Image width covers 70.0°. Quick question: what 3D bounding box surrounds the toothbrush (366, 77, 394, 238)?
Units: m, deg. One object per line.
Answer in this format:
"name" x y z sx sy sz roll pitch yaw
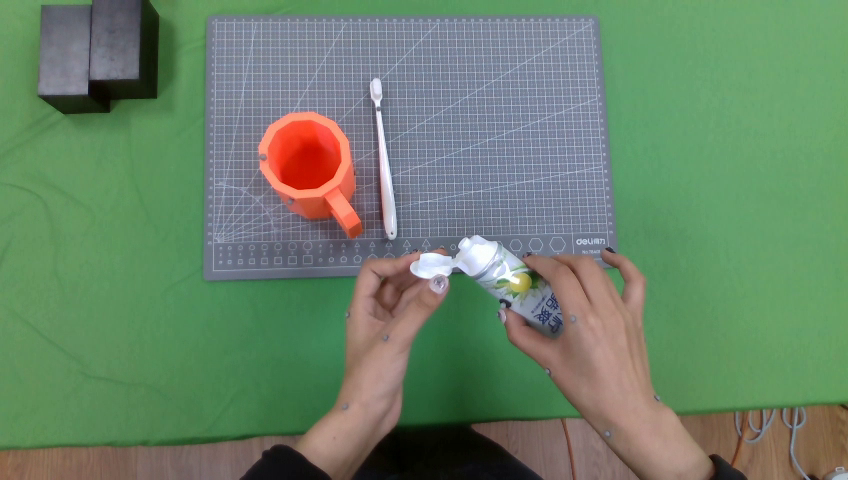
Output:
"toothbrush" -0.047 -0.093 0.665 0.014 0.016 0.181 -4 83 -20

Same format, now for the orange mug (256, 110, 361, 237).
"orange mug" -0.107 -0.061 0.615 0.083 0.101 0.125 -36 81 -8

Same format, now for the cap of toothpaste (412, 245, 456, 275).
"cap of toothpaste" 0.008 0.015 0.488 0.037 0.037 0.011 1 121 -4

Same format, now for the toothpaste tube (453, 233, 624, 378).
"toothpaste tube" 0.090 0.050 0.496 0.166 0.034 0.055 37 96 -13
